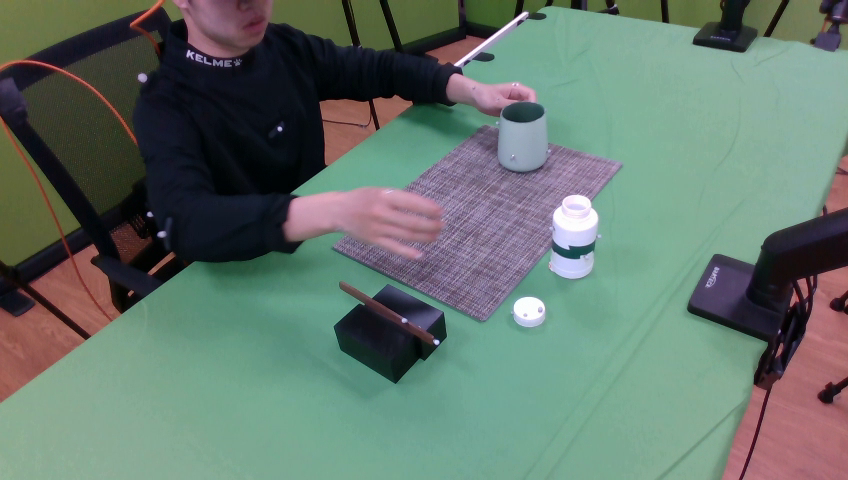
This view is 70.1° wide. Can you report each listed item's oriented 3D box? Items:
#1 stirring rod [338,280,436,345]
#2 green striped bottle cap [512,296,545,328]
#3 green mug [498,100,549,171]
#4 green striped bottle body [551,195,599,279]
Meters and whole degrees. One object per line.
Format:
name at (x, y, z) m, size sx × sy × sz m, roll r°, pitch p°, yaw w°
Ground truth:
stirring rod at (-0.053, 0.093, 0.795) m, size 0.174 × 0.014 × 0.006 m, roll 27°, pitch 47°, yaw 33°
green striped bottle cap at (0.144, 0.099, 0.837) m, size 0.044 × 0.020 × 0.044 m, roll -1°, pitch 42°, yaw 1°
green mug at (0.182, -0.197, 1.101) m, size 0.092 × 0.105 × 0.125 m, roll 3°, pitch 41°, yaw 12°
green striped bottle body at (0.217, -0.006, 0.870) m, size 0.063 × 0.120 × 0.063 m, roll -4°, pitch 41°, yaw 4°
